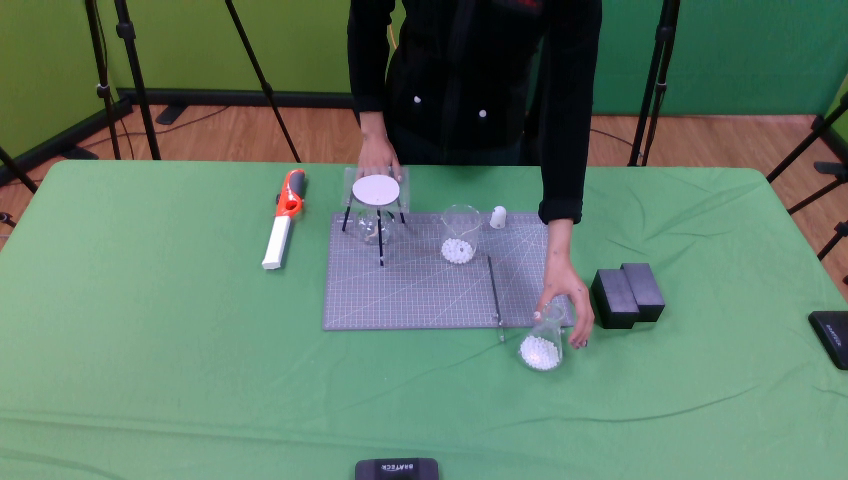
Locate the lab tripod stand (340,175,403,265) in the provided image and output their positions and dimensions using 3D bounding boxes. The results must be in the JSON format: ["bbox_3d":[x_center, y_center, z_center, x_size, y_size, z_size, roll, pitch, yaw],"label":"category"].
[{"bbox_3d":[-0.094,-0.050,1.160,0.148,0.132,0.147,2,44,-2],"label":"lab tripod stand"}]

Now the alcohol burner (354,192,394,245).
[{"bbox_3d":[-0.096,-0.048,1.171,0.078,0.119,0.077,4,45,-4],"label":"alcohol burner"}]

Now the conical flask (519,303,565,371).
[{"bbox_3d":[0.201,0.155,0.997,0.075,0.122,0.075,2,46,-2],"label":"conical flask"}]

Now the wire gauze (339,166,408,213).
[{"bbox_3d":[-0.091,-0.096,1.110,0.125,0.011,0.120,2,45,-3],"label":"wire gauze"}]

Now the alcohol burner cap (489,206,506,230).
[{"bbox_3d":[0.152,-0.047,1.241,0.034,0.048,0.033,2,45,-2],"label":"alcohol burner cap"}]

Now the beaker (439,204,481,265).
[{"bbox_3d":[0.066,-0.006,1.154,0.074,0.101,0.083,8,47,4],"label":"beaker"}]

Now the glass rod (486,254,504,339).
[{"bbox_3d":[0.130,0.100,1.119,0.008,0.008,0.198,-1,46,-4],"label":"glass rod"}]

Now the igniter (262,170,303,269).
[{"bbox_3d":[-0.283,-0.050,1.222,0.057,0.025,0.275,-5,45,6],"label":"igniter"}]
